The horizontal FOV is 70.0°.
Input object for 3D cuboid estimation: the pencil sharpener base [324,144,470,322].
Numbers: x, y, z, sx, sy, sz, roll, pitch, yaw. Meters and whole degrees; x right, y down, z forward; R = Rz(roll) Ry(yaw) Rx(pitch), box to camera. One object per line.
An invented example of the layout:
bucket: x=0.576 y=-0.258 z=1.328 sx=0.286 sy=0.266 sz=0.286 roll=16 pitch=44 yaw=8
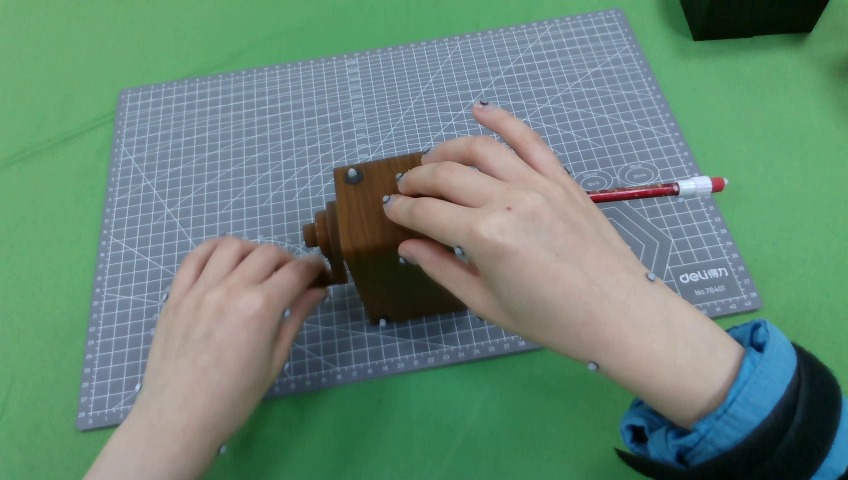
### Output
pencil sharpener base: x=-0.014 y=0.001 z=0.375 sx=0.077 sy=0.108 sz=0.061 roll=-11 pitch=60 yaw=-1

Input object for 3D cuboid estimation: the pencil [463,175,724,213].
pencil: x=0.082 y=-0.025 z=0.357 sx=0.194 sy=0.012 sz=0.012 roll=-6 pitch=60 yaw=-4

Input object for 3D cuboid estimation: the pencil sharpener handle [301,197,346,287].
pencil sharpener handle: x=-0.065 y=0.006 z=0.361 sx=0.030 sy=0.068 sz=0.035 roll=-11 pitch=51 yaw=-1
